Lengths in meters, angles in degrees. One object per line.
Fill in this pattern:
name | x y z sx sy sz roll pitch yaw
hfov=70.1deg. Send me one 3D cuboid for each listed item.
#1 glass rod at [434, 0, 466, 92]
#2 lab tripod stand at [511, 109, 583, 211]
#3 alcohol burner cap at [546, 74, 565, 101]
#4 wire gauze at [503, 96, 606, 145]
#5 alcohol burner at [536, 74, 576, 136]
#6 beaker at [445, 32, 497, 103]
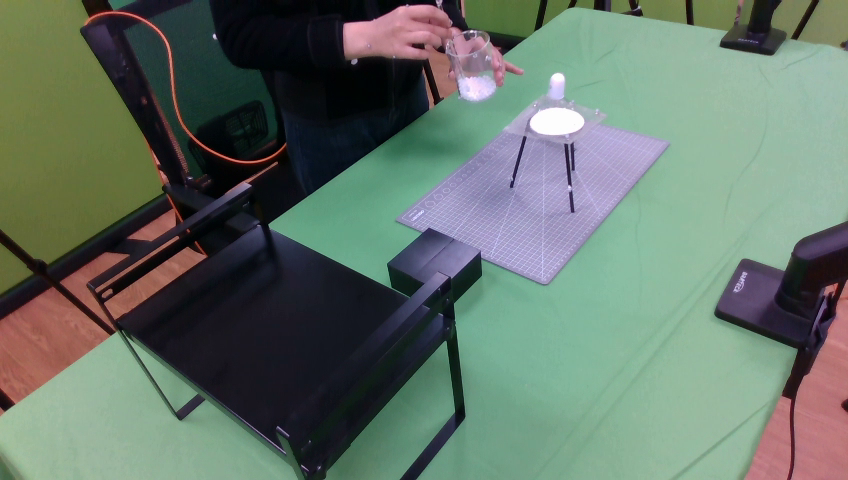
glass rod | 0.043 -0.326 1.002 0.008 0.201 0.008 -11 48 13
lab tripod stand | 0.220 -0.138 1.014 0.148 0.132 0.147 -3 41 3
alcohol burner cap | 0.251 -0.292 1.150 0.034 0.048 0.033 1 41 0
wire gauze | 0.211 -0.192 0.975 0.120 0.011 0.125 24 49 32
alcohol burner | 0.255 -0.265 1.173 0.078 0.119 0.077 -6 40 5
beaker | 0.085 -0.296 1.040 0.073 0.101 0.084 7 52 25
